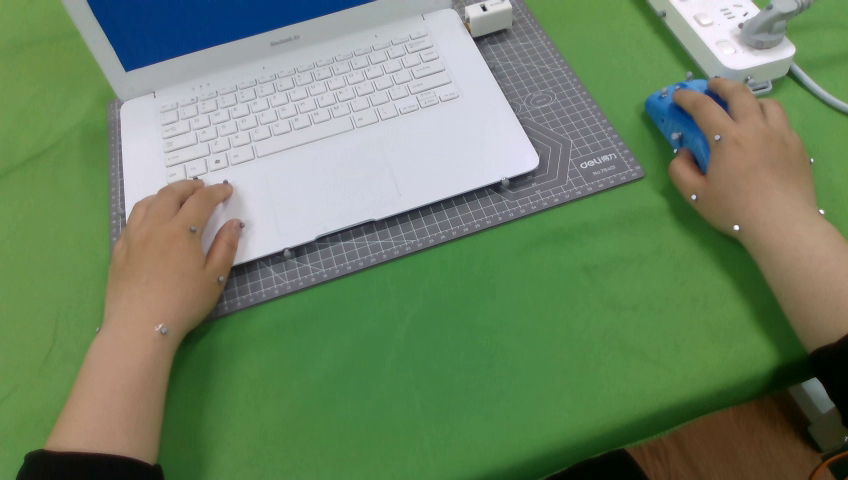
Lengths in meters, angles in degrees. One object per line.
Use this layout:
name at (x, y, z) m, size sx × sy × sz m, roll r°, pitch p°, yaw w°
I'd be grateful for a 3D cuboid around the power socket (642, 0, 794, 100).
power socket at (0.274, -0.226, 0.598) m, size 0.072 × 0.033 × 0.224 m, roll -15°, pitch 56°, yaw -3°

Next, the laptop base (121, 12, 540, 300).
laptop base at (-0.099, -0.092, 0.563) m, size 0.354 × 0.023 × 0.233 m, roll -19°, pitch 59°, yaw -5°

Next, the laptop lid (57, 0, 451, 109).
laptop lid at (-0.157, -0.267, 0.548) m, size 0.357 × 0.244 × 0.013 m, roll -19°, pitch 43°, yaw -4°

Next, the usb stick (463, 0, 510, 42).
usb stick at (0.057, -0.220, 0.614) m, size 0.059 × 0.027 × 0.021 m, roll -19°, pitch 56°, yaw -2°

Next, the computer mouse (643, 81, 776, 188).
computer mouse at (0.238, -0.096, 0.510) m, size 0.063 × 0.041 × 0.116 m, roll -19°, pitch 50°, yaw -3°

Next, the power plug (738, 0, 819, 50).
power plug at (0.319, -0.187, 0.540) m, size 0.072 × 0.053 × 0.035 m, roll -6°, pitch 57°, yaw 3°
